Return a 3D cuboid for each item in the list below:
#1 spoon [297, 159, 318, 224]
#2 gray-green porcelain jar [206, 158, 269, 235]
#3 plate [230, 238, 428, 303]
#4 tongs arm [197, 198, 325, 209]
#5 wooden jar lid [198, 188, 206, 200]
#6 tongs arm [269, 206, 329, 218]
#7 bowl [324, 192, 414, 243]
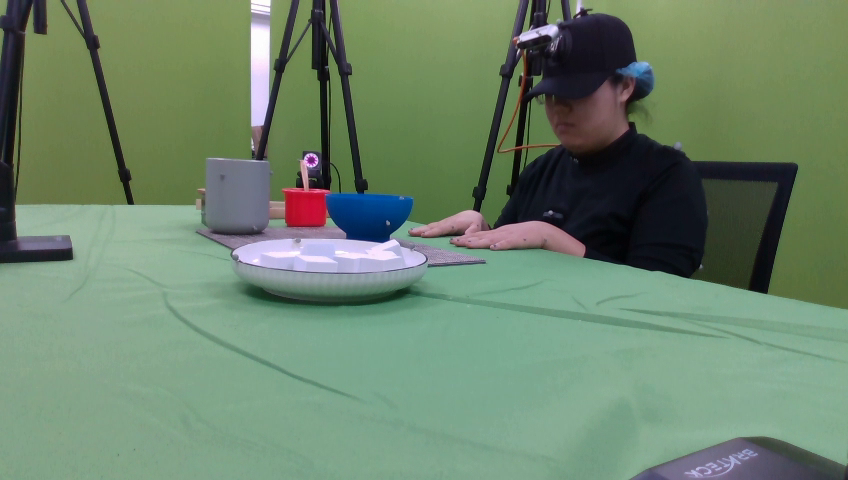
[{"bbox_3d":[-0.244,-0.103,1.251,0.042,0.021,0.193,1,51,-17],"label":"spoon"},{"bbox_3d":[-0.322,-0.076,1.048,0.106,0.126,0.106,3,7,0],"label":"gray-green porcelain jar"},{"bbox_3d":[-0.099,0.032,0.651,0.209,0.038,0.209,3,8,0],"label":"plate"},{"bbox_3d":[-0.337,-0.079,1.450,0.387,0.026,0.050,0,8,-29],"label":"tongs arm"},{"bbox_3d":[-0.382,-0.088,1.175,0.108,0.020,0.108,3,8,0],"label":"wooden jar lid"},{"bbox_3d":[-0.294,-0.065,1.384,0.390,0.028,0.028,-3,7,-42],"label":"tongs arm"},{"bbox_3d":[-0.093,-0.037,1.015,0.151,0.077,0.151,3,7,0],"label":"bowl"}]
